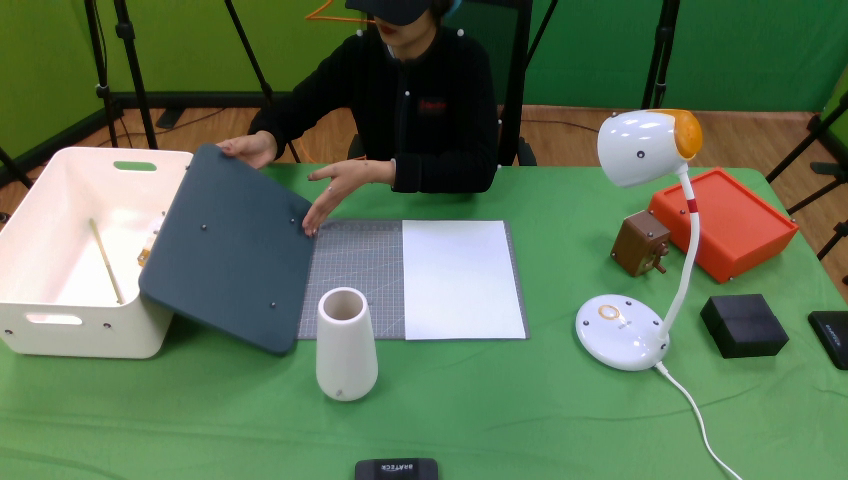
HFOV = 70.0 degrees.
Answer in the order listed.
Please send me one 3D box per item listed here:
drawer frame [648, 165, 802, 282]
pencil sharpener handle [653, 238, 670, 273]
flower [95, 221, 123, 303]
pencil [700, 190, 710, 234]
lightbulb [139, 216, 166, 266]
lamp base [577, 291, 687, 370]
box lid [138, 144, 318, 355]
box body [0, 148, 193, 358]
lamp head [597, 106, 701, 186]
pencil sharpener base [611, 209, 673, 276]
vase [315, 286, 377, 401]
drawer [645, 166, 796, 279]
[{"bbox_3d":[0.603,-0.040,1.233,0.202,0.083,0.212,-21,51,-23],"label":"drawer frame"},{"bbox_3d":[0.444,0.030,1.120,0.036,0.068,0.030,-25,52,-18],"label":"pencil sharpener handle"},{"bbox_3d":[-0.558,0.069,1.088,0.044,0.038,0.359,-26,48,-17],"label":"flower"},{"bbox_3d":[0.584,-0.059,1.256,0.012,0.012,0.193,16,34,11],"label":"pencil"},{"bbox_3d":[-0.495,0.003,1.132,0.059,0.060,0.107,18,64,13],"label":"lightbulb"},{"bbox_3d":[0.361,0.110,1.003,0.160,0.181,0.178,-31,57,-28],"label":"lamp base"},{"bbox_3d":[-0.319,0.004,1.063,0.264,0.015,0.369,33,38,-28],"label":"box lid"},{"bbox_3d":[-0.546,0.017,1.045,0.254,0.161,0.361,2,46,-2],"label":"box body"},{"bbox_3d":[0.329,-0.138,0.865,0.112,0.113,0.122,-36,20,-32],"label":"lamp head"},{"bbox_3d":[0.416,0.007,1.158,0.061,0.107,0.076,-21,51,-22],"label":"pencil sharpener base"},{"bbox_3d":[-0.119,0.159,0.911,0.098,0.201,0.097,2,47,-2],"label":"vase"},{"bbox_3d":[0.600,-0.041,1.236,0.195,0.073,0.210,-21,51,-23],"label":"drawer"}]
